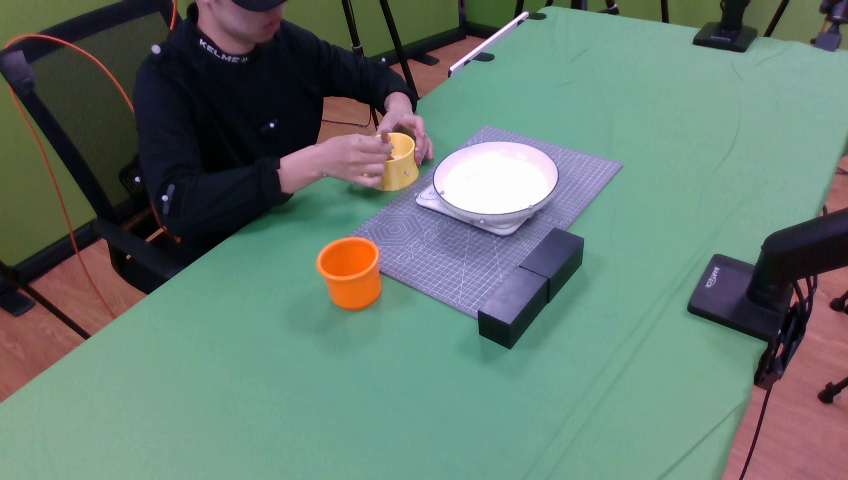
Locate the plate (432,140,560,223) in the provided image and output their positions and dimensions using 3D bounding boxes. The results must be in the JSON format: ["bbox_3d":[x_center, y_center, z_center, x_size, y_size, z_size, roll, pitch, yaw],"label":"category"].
[{"bbox_3d":[0.118,-0.094,0.999,0.209,0.038,0.208,-4,41,4],"label":"plate"}]

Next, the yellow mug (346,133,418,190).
[{"bbox_3d":[-0.079,-0.143,1.115,0.131,0.064,0.099,-6,38,2],"label":"yellow mug"}]

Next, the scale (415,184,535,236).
[{"bbox_3d":[0.099,-0.080,1.035,0.199,0.032,0.149,23,48,31],"label":"scale"}]

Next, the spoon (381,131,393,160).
[{"bbox_3d":[-0.067,-0.155,1.054,0.042,0.194,0.021,-5,77,-3],"label":"spoon"}]
